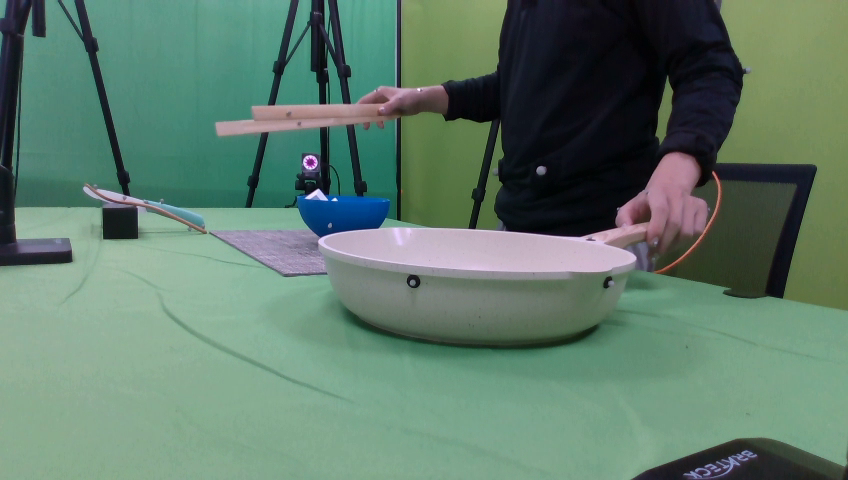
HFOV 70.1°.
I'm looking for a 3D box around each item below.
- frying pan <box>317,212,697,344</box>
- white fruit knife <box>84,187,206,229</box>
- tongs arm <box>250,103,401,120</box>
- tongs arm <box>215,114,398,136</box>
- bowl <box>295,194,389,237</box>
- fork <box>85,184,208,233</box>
[{"bbox_3d":[0.133,0.013,0.629,0.490,0.102,0.305,-12,14,-31],"label":"frying pan"},{"bbox_3d":[-0.488,-0.059,1.071,0.208,0.027,0.016,17,4,-33],"label":"white fruit knife"},{"bbox_3d":[-0.169,-0.246,1.156,0.028,0.028,0.389,-13,2,40],"label":"tongs arm"},{"bbox_3d":[-0.220,-0.241,1.214,0.387,0.026,0.050,-14,4,-38],"label":"tongs arm"},{"bbox_3d":[-0.132,-0.032,0.981,0.151,0.077,0.151,2,7,0],"label":"bowl"},{"bbox_3d":[-0.462,-0.051,1.019,0.208,0.018,0.028,22,-11,-37],"label":"fork"}]
